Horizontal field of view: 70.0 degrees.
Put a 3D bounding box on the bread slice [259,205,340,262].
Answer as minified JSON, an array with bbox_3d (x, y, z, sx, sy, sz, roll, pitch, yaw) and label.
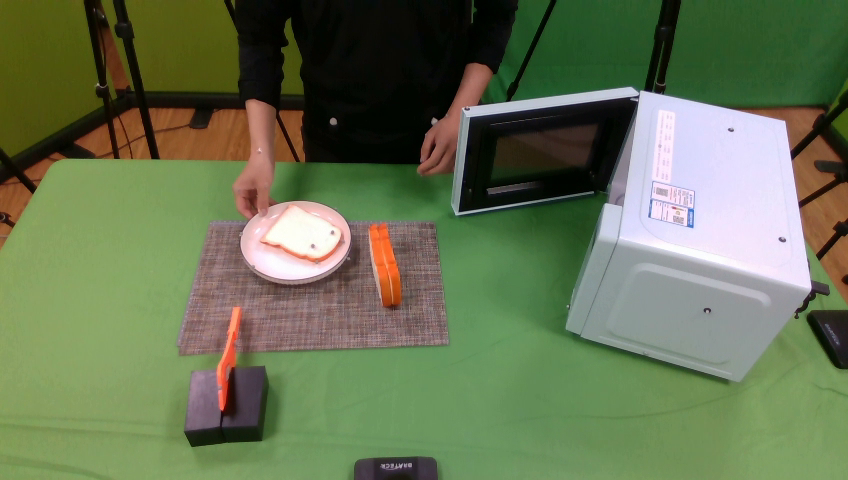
[{"bbox_3d":[-0.231,-0.010,1.167,0.134,0.018,0.106,20,51,10],"label":"bread slice"}]

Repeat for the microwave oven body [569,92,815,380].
[{"bbox_3d":[0.468,-0.022,1.082,0.325,0.261,0.440,15,46,11],"label":"microwave oven body"}]

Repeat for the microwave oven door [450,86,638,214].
[{"bbox_3d":[0.234,-0.177,1.207,0.356,0.245,0.039,-10,48,-13],"label":"microwave oven door"}]

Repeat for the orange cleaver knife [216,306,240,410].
[{"bbox_3d":[-0.307,0.180,0.957,0.012,0.077,0.210,-2,25,-8],"label":"orange cleaver knife"}]

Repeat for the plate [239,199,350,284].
[{"bbox_3d":[-0.244,0.005,1.154,0.208,0.039,0.206,3,47,-3],"label":"plate"}]

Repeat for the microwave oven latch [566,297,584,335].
[{"bbox_3d":[0.268,0.126,1.059,0.030,0.029,0.079,16,46,12],"label":"microwave oven latch"}]
